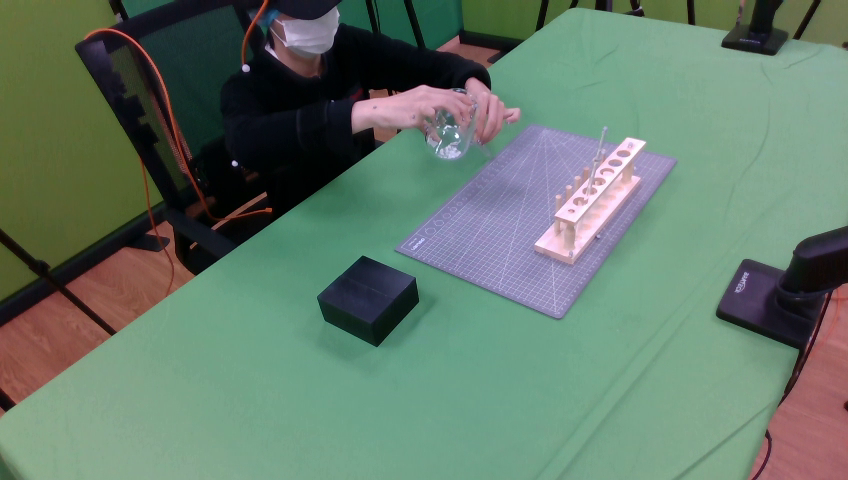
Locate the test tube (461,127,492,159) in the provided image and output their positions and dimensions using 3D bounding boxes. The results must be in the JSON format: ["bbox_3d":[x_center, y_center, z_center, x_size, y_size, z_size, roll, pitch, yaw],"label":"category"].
[{"bbox_3d":[0.095,-0.170,1.076,0.017,0.151,0.017,-3,80,21],"label":"test tube"}]

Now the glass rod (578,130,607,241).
[{"bbox_3d":[0.240,-0.071,0.866,0.008,0.200,0.008,0,44,1],"label":"glass rod"}]

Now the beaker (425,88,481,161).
[{"bbox_3d":[0.046,-0.177,0.953,0.073,0.084,0.100,-5,43,25],"label":"beaker"}]

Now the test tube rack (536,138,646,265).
[{"bbox_3d":[0.268,-0.071,0.964,0.066,0.085,0.243,23,49,32],"label":"test tube rack"}]
